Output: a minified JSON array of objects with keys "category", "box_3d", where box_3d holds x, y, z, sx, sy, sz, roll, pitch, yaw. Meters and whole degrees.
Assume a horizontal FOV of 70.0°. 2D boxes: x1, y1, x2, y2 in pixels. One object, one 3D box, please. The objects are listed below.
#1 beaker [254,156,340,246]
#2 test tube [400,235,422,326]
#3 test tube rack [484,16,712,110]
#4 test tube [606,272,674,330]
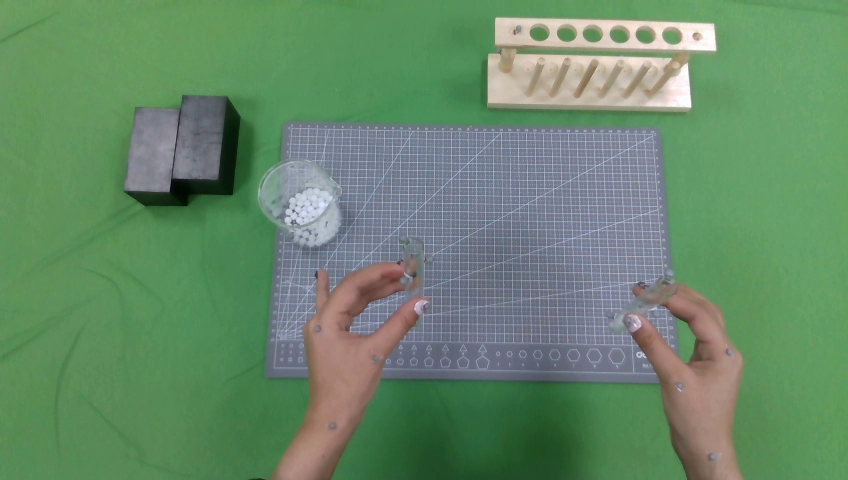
[{"category":"beaker","box_3d":[-0.128,-0.037,0.648,0.084,0.100,0.073,-7,77,-3]},{"category":"test tube","box_3d":[-0.010,0.038,0.493,0.017,0.151,0.017,0,61,0]},{"category":"test tube rack","box_3d":[0.195,-0.203,0.702,0.242,0.085,0.066,1,76,0]},{"category":"test tube","box_3d":[0.175,0.054,0.504,0.017,0.151,0.017,-1,71,2]}]
